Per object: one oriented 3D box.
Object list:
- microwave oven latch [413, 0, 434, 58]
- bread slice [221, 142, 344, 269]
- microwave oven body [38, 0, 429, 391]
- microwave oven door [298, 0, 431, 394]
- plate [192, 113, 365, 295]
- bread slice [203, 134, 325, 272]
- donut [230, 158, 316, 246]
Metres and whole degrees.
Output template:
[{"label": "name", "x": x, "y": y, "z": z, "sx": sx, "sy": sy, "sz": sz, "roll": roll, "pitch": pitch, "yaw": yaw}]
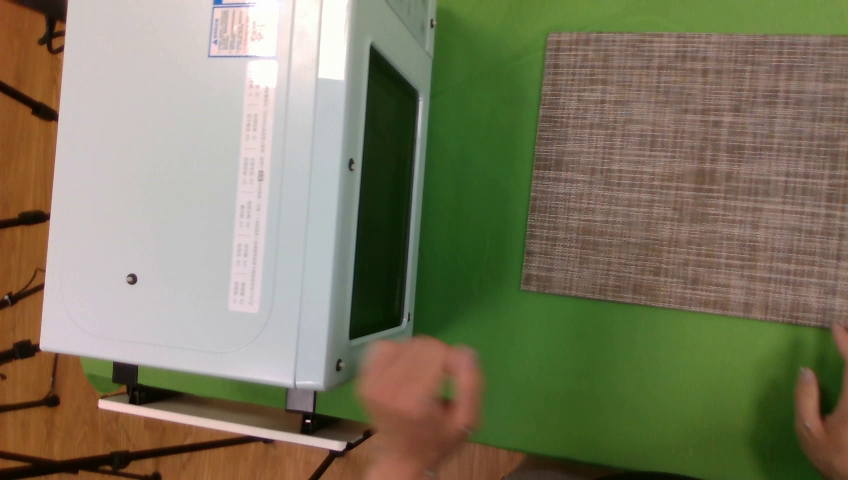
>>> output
[{"label": "microwave oven latch", "x": -0.004, "y": -0.256, "z": 0.712, "sx": 0.030, "sy": 0.029, "sz": 0.079, "roll": 4, "pitch": 90, "yaw": 15}, {"label": "bread slice", "x": -0.171, "y": -0.045, "z": 0.698, "sx": 0.107, "sy": 0.018, "sz": 0.133, "roll": -42, "pitch": 77, "yaw": 1}, {"label": "microwave oven body", "x": -0.187, "y": -0.095, "z": 0.657, "sx": 0.325, "sy": 0.261, "sz": 0.441, "roll": 4, "pitch": 90, "yaw": 15}, {"label": "microwave oven door", "x": -0.051, "y": -0.043, "z": 0.613, "sx": 0.039, "sy": 0.245, "sz": 0.355, "roll": 4, "pitch": 89, "yaw": 16}, {"label": "plate", "x": -0.165, "y": -0.040, "z": 0.701, "sx": 0.207, "sy": 0.039, "sz": 0.207, "roll": -1, "pitch": 88, "yaw": 12}, {"label": "bread slice", "x": -0.181, "y": -0.045, "z": 0.649, "sx": 0.105, "sy": 0.019, "sz": 0.131, "roll": -38, "pitch": 82, "yaw": 14}, {"label": "donut", "x": -0.168, "y": -0.042, "z": 0.673, "sx": 0.099, "sy": 0.048, "sz": 0.099, "roll": -1, "pitch": 87, "yaw": 10}]
